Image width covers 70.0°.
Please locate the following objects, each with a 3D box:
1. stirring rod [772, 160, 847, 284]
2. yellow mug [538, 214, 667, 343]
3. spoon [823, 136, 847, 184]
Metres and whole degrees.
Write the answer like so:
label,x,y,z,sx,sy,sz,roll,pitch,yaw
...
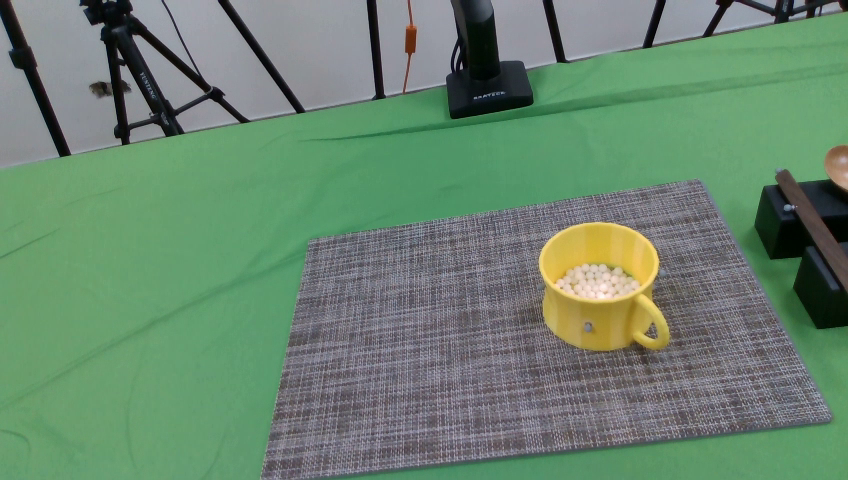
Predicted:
label,x,y,z,sx,sy,sz,roll,pitch,yaw
stirring rod,0.335,-0.013,0.512,0.014,0.006,0.174,-39,31,32
yellow mug,0.163,0.041,0.534,0.100,0.064,0.129,-30,45,-16
spoon,0.390,-0.022,0.504,0.041,0.022,0.191,-8,45,6
